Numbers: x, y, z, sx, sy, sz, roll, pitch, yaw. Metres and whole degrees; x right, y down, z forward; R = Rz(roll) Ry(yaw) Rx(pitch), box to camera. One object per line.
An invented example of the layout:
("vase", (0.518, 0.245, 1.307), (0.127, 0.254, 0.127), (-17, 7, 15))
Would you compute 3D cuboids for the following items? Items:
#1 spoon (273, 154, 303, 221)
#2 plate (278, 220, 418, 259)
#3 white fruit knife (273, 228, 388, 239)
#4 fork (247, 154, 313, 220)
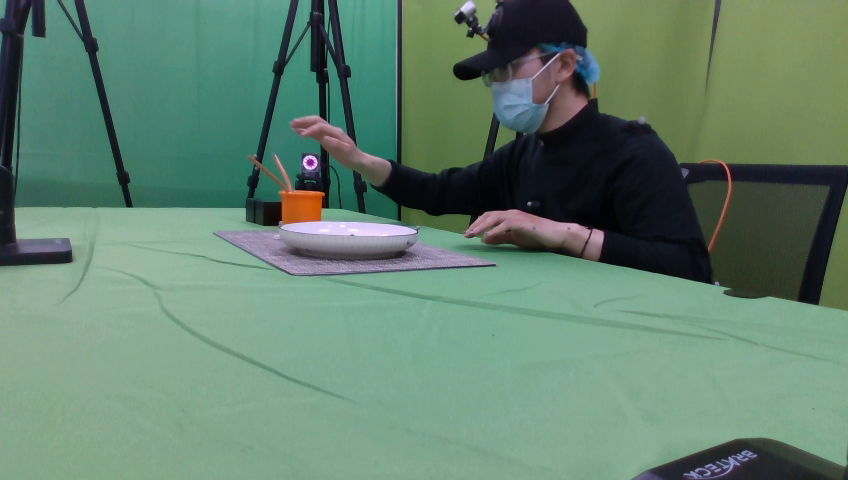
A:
("spoon", (-0.280, -0.107, 1.247), (0.021, 0.193, 0.042), (-28, -29, 9))
("plate", (-0.114, -0.002, 0.914), (0.209, 0.038, 0.209), (2, 7, 0))
("white fruit knife", (-0.158, -0.009, 1.056), (0.208, 0.016, 0.027), (-3, -22, -23))
("fork", (-0.275, -0.096, 1.188), (0.028, 0.018, 0.208), (28, -20, 49))
